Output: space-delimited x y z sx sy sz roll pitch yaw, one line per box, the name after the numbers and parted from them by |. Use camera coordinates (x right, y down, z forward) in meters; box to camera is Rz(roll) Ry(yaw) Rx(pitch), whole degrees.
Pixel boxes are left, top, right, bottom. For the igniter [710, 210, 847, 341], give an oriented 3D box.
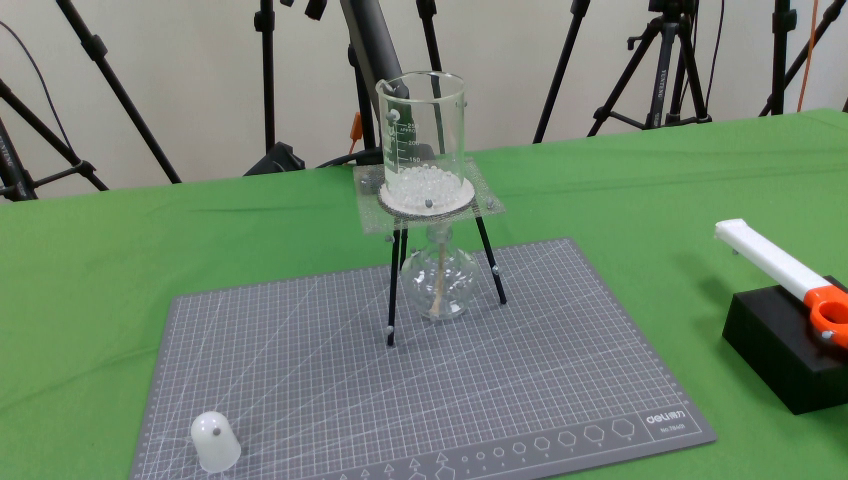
0.338 0.045 0.512 0.057 0.025 0.273 -10 32 -9 | igniter

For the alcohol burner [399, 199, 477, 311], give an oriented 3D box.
0.014 0.010 0.587 0.078 0.120 0.077 -1 36 1 | alcohol burner

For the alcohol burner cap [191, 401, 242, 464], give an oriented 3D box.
-0.162 0.145 0.467 0.034 0.048 0.033 -2 35 1 | alcohol burner cap

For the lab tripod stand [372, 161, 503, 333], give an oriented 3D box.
0.005 0.001 0.584 0.148 0.132 0.147 -1 33 1 | lab tripod stand

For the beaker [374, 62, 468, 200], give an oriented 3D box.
-0.004 -0.092 0.517 0.083 0.101 0.074 28 44 37 | beaker

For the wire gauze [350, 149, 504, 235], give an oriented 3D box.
-0.002 -0.051 0.544 0.121 0.011 0.123 -8 37 -7 | wire gauze
